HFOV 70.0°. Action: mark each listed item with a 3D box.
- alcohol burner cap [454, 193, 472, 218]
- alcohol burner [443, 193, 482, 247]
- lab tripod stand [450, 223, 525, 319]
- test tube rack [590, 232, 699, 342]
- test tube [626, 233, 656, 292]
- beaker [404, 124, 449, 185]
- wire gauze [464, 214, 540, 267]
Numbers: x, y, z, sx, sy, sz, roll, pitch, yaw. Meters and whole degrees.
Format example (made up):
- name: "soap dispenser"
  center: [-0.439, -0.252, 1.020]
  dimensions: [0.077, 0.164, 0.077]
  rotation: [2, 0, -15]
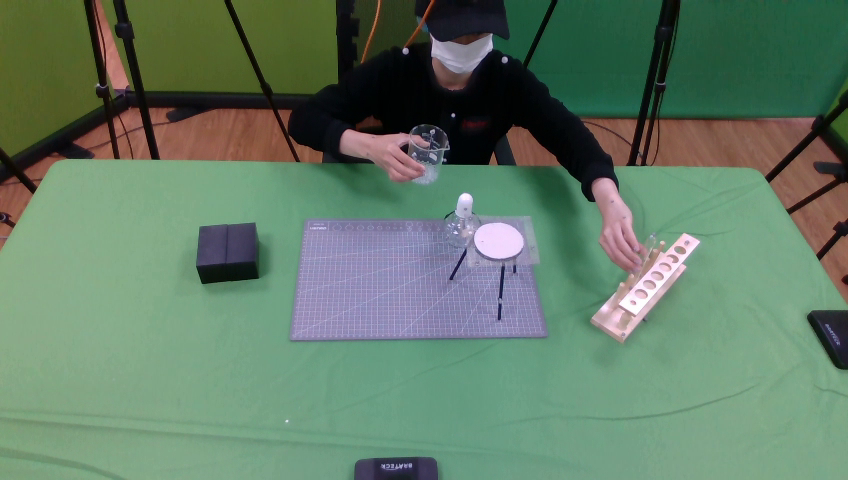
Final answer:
- name: "alcohol burner cap"
  center: [0.076, -0.068, 1.151]
  dimensions: [0.034, 0.048, 0.033]
  rotation: [4, 47, -4]
- name: "alcohol burner"
  center: [0.075, -0.044, 1.177]
  dimensions: [0.078, 0.120, 0.077]
  rotation: [2, 44, -1]
- name: "lab tripod stand"
  center: [0.120, 0.046, 1.080]
  dimensions: [0.148, 0.132, 0.147]
  rotation: [1, 47, -1]
- name: "test tube rack"
  center: [0.407, 0.074, 1.112]
  dimensions: [0.066, 0.085, 0.242]
  rotation: [35, 53, 26]
- name: "test tube"
  center: [0.384, 0.042, 1.078]
  dimensions: [0.017, 0.151, 0.017]
  rotation: [1, 47, -1]
- name: "beaker"
  center: [0.003, -0.163, 1.178]
  dimensions: [0.084, 0.101, 0.073]
  rotation: [24, 52, 9]
- name: "wire gauze"
  center: [0.131, -0.002, 1.034]
  dimensions: [0.121, 0.011, 0.124]
  rotation: [1, 45, -2]
